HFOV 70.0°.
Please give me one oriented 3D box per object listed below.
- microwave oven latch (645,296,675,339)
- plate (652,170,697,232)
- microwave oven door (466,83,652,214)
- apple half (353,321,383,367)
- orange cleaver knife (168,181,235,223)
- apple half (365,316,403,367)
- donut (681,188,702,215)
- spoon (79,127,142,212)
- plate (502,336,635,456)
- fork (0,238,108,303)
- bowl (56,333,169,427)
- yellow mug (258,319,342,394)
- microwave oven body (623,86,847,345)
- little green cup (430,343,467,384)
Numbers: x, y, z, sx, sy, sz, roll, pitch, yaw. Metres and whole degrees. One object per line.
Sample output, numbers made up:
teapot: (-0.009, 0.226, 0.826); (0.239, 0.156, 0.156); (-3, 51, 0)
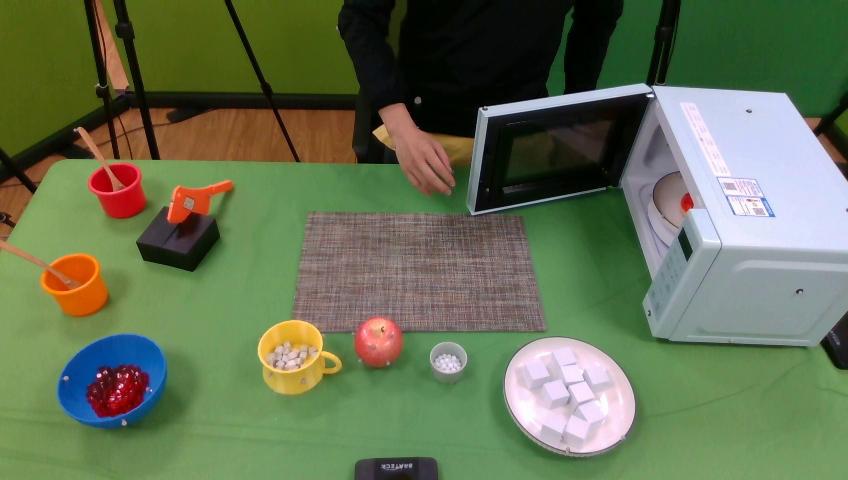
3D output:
microwave oven latch: (0.412, 0.134, 1.061); (0.030, 0.029, 0.078); (3, 45, 0)
plate: (0.555, -0.059, 1.196); (0.209, 0.038, 0.208); (2, 45, -2)
microwave oven door: (0.266, -0.183, 1.216); (0.356, 0.245, 0.039); (-12, 48, -15)
apple half: (-0.097, 0.177, 0.984); (0.033, 0.081, 0.081); (-17, 49, -25)
orange cleaver knife: (-0.436, -0.078, 1.196); (0.012, 0.077, 0.211); (16, 15, 10)
apple half: (-0.063, 0.165, 1.000); (0.053, 0.075, 0.080); (-16, 45, -24)
donut: (0.553, -0.065, 1.185); (0.099, 0.048, 0.098); (2, 44, -1)
spoon: (-0.624, -0.140, 1.203); (0.041, 0.021, 0.194); (-33, 100, -26)
plate: (0.225, 0.248, 0.963); (0.208, 0.039, 0.206); (2, 46, -2)
fork: (-0.633, 0.048, 1.017); (0.208, 0.018, 0.028); (40, 41, -27)
bowl: (-0.456, 0.223, 0.912); (0.151, 0.077, 0.150); (3, 46, -2)
yellow mug: (-0.195, 0.188, 0.972); (0.131, 0.064, 0.099); (9, 47, 4)
microwave oven body: (0.567, -0.053, 1.118); (0.326, 0.261, 0.439); (2, 45, -1)
little green cup: (0.039, 0.203, 0.994); (0.061, 0.039, 0.061); (2, 46, -2)
